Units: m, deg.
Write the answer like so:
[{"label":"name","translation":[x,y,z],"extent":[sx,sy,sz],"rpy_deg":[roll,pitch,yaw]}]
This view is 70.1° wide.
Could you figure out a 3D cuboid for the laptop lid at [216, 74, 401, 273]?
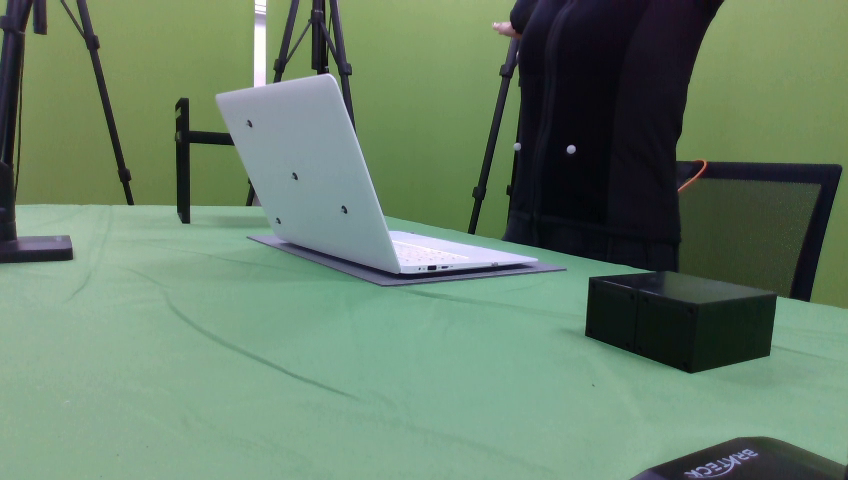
[{"label":"laptop lid","translation":[-0.164,-0.085,0.780],"extent":[0.013,0.242,0.355],"rpy_deg":[-32,27,-30]}]

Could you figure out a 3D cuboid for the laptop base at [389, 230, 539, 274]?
[{"label":"laptop base","translation":[-0.037,0.014,0.895],"extent":[0.237,0.023,0.352],"rpy_deg":[1,7,-38]}]
